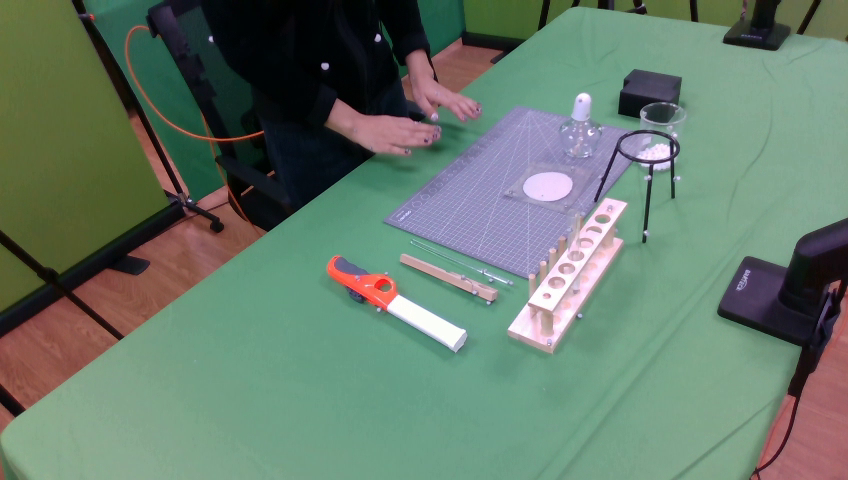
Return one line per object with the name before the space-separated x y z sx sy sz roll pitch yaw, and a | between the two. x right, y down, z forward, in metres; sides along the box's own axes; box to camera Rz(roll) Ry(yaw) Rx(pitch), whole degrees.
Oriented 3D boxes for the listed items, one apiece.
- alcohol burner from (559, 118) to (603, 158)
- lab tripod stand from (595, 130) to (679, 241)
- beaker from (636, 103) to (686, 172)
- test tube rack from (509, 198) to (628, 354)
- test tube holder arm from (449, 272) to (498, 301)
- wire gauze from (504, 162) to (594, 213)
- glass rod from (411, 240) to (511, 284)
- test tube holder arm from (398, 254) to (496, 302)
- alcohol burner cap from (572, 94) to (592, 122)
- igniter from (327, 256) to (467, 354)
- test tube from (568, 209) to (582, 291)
alcohol burner | 0.287 -0.212 1.104 0.078 0.119 0.077 -4 40 4
lab tripod stand | 0.342 -0.095 0.943 0.148 0.132 0.147 -4 39 4
beaker | 0.413 -0.177 1.055 0.084 0.101 0.073 -28 44 -21
test tube rack | 0.206 0.039 0.850 0.066 0.085 0.243 20 48 30
test tube holder arm | 0.070 0.068 0.894 0.087 0.015 0.010 21 13 32
wire gauze | 0.220 -0.098 1.065 0.124 0.011 0.122 17 47 32
glass rod | 0.053 0.033 0.946 0.198 0.008 0.008 22 50 36
test tube holder arm | 0.031 0.055 0.913 0.177 0.015 0.013 21 13 31
alcohol burner cap | 0.284 -0.238 1.079 0.034 0.048 0.033 -1 48 2
igniter | -0.051 0.088 0.886 0.274 0.025 0.057 27 61 35
test tube | 0.200 0.017 0.799 0.017 0.151 0.017 -8 45 8
